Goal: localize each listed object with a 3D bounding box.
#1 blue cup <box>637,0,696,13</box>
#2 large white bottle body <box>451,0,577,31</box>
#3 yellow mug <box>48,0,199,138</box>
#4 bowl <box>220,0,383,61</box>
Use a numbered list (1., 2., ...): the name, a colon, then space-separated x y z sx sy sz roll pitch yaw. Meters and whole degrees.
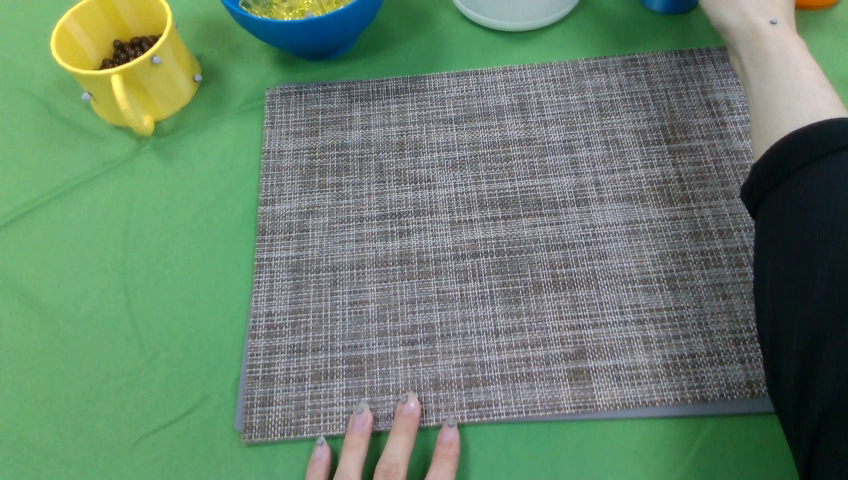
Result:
1. blue cup: 0.221 -0.255 0.523 0.092 0.101 0.092 -2 63 4
2. large white bottle body: 0.080 -0.286 0.500 0.130 0.186 0.129 -1 62 3
3. yellow mug: -0.249 -0.144 0.513 0.100 0.064 0.129 -16 63 -6
4. bowl: -0.100 -0.214 0.534 0.151 0.077 0.150 -1 62 3
